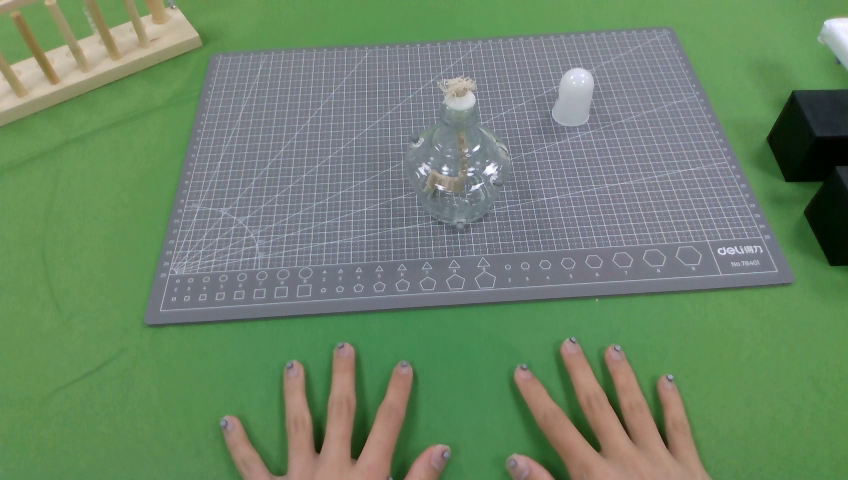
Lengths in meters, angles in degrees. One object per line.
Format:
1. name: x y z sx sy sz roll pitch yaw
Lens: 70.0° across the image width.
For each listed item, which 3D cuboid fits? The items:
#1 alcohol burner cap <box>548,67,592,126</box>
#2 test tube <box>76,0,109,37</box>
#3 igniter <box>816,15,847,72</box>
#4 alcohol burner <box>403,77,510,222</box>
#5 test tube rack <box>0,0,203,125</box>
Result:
1. alcohol burner cap: 0.125 -0.123 0.509 0.034 0.048 0.033 0 53 1
2. test tube: -0.315 -0.249 0.528 0.017 0.152 0.017 -4 45 4
3. igniter: 0.346 -0.072 0.417 0.057 0.025 0.273 -4 52 2
4. alcohol burner: 0.024 -0.067 0.427 0.078 0.120 0.077 0 55 0
5. test tube rack: -0.338 -0.183 0.545 0.242 0.086 0.066 -30 58 -18
